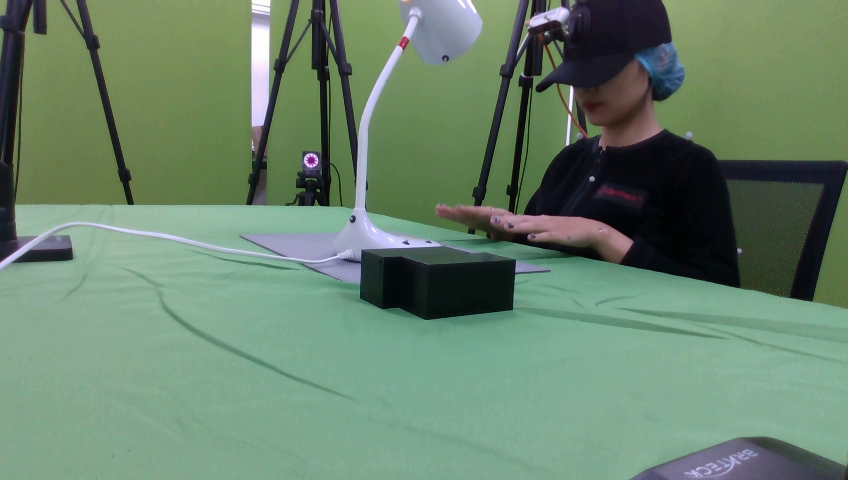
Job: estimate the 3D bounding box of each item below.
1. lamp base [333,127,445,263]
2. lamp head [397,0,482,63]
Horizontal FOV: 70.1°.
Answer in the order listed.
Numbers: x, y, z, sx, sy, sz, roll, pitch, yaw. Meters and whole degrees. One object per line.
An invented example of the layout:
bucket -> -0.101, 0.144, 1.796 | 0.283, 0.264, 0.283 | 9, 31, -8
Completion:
lamp base -> -0.054, -0.064, 0.842 | 0.160, 0.180, 0.180 | 6, 11, 29
lamp head -> 0.011, -0.341, 0.899 | 0.112, 0.112, 0.123 | 7, -21, 37
